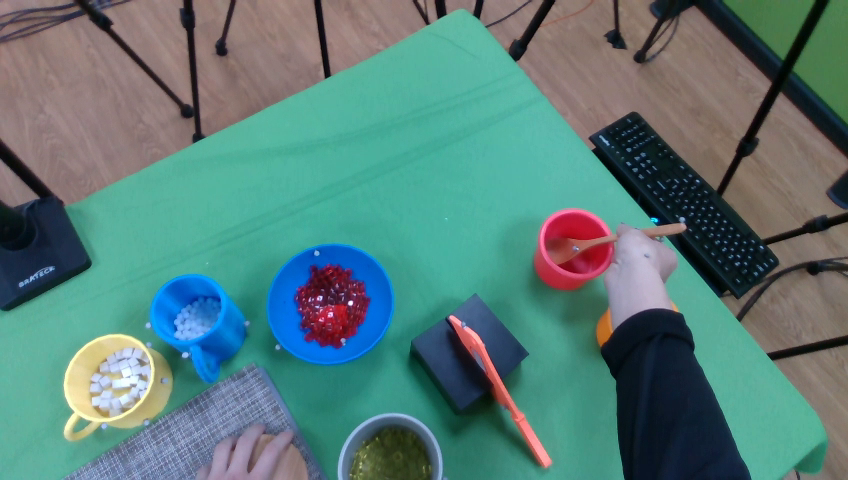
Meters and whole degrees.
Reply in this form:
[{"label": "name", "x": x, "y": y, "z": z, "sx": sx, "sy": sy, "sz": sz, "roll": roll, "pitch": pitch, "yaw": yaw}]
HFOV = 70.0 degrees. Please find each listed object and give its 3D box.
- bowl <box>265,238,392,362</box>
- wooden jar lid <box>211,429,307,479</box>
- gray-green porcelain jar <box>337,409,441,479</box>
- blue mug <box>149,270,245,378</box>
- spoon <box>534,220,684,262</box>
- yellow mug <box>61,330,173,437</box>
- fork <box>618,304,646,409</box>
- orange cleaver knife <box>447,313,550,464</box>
[{"label": "bowl", "x": -0.114, "y": 0.083, "z": 0.751, "sx": 0.151, "sy": 0.077, "sz": 0.150, "roll": 1, "pitch": 68, "yaw": -3}, {"label": "wooden jar lid", "x": -0.188, "y": 0.274, "z": 0.696, "sx": 0.108, "sy": 0.021, "sz": 0.107, "roll": 2, "pitch": 69, "yaw": -4}, {"label": "gray-green porcelain jar", "x": -0.038, "y": 0.247, "z": 0.663, "sx": 0.106, "sy": 0.127, "sz": 0.105, "roll": 2, "pitch": 68, "yaw": -3}, {"label": "blue mug", "x": -0.263, "y": 0.106, "z": 0.716, "sx": 0.082, "sy": 0.106, "sz": 0.115, "roll": -12, "pitch": 69, "yaw": -8}, {"label": "spoon", "x": 0.229, "y": -0.002, "z": 0.771, "sx": 0.193, "sy": 0.022, "sz": 0.041, "roll": -14, "pitch": 55, "yaw": 39}, {"label": "yellow mug", "x": -0.365, "y": 0.173, "z": 0.704, "sx": 0.099, "sy": 0.064, "sz": 0.130, "roll": 33, "pitch": 71, "yaw": 10}, {"label": "fork", "x": 0.248, "y": 0.131, "z": 0.717, "sx": 0.028, "sy": 0.019, "sz": 0.206, "roll": 28, "pitch": 25, "yaw": 2}, {"label": "orange cleaver knife", "x": 0.088, "y": 0.177, "z": 0.724, "sx": 0.012, "sy": 0.077, "sz": 0.212, "roll": -34, "pitch": 104, "yaw": -15}]
